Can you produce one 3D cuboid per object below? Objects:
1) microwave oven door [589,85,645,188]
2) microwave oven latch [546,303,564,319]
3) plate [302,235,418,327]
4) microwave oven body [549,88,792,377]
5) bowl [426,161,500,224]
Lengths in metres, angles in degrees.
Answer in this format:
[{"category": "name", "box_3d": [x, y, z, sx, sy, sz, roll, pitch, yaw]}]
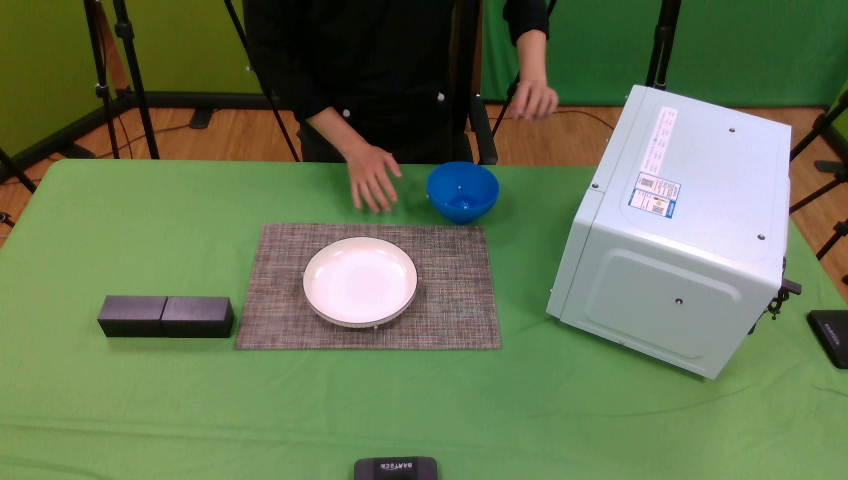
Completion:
[{"category": "microwave oven door", "box_3d": [0.342, -0.107, 1.149, 0.039, 0.245, 0.354, 20, 48, 15]}, {"category": "microwave oven latch", "box_3d": [0.242, 0.102, 1.081, 0.030, 0.029, 0.079, 21, 48, 17]}, {"category": "plate", "box_3d": [-0.114, 0.077, 1.098, 0.208, 0.039, 0.206, 2, 46, -2]}, {"category": "microwave oven body", "box_3d": [0.456, -0.028, 1.088, 0.325, 0.261, 0.440, 20, 47, 16]}, {"category": "bowl", "box_3d": [0.077, -0.086, 1.248, 0.151, 0.077, 0.150, 2, 46, -2]}]
